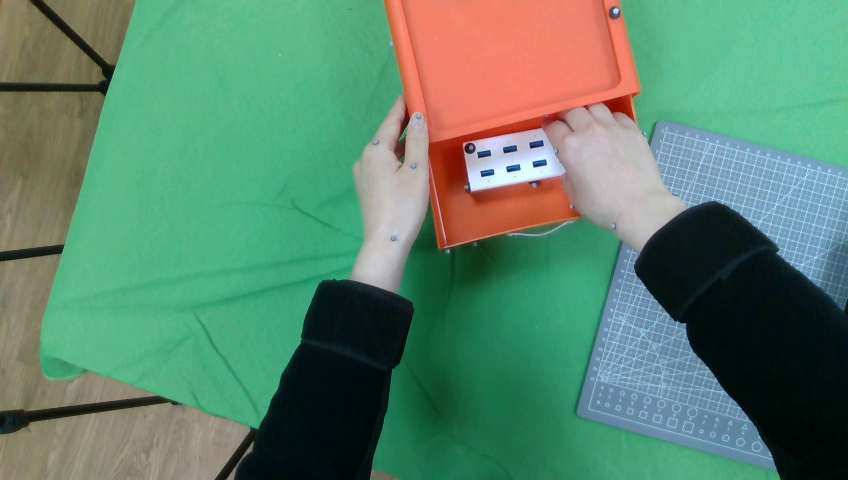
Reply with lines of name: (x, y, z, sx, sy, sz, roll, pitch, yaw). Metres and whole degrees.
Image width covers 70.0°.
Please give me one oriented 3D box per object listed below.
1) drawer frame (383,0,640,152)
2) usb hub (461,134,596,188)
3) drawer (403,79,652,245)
drawer frame: (0.067, -0.207, 0.553, 0.201, 0.083, 0.213, -14, 91, 4)
usb hub: (0.097, -0.074, 0.573, 0.125, 0.025, 0.049, 1, 93, 9)
drawer: (0.086, -0.113, 0.559, 0.194, 0.073, 0.211, -11, 91, 3)
